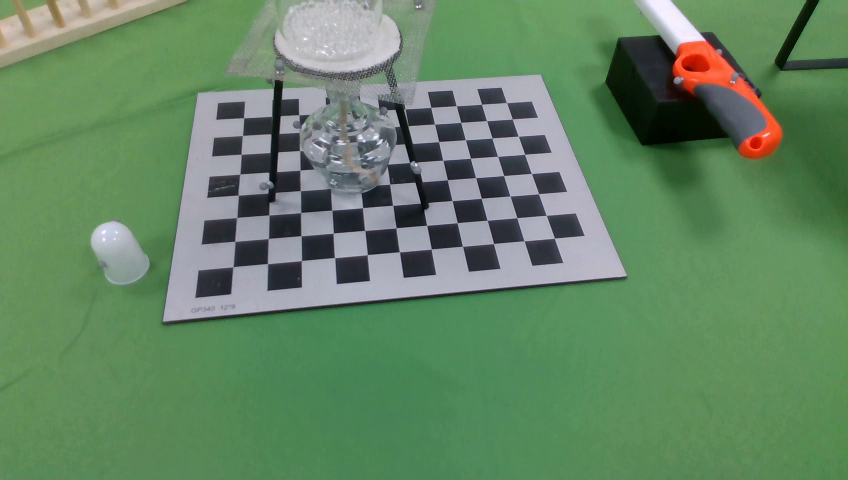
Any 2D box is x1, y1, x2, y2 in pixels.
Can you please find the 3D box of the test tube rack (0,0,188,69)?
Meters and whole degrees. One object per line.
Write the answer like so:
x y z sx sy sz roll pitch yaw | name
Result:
-0.380 -0.258 0.623 0.242 0.086 0.066 -34 60 -27 | test tube rack

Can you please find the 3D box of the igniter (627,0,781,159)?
0.245 -0.168 0.555 0.057 0.025 0.273 -7 49 -4 | igniter

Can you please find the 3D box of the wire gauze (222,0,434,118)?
-0.060 -0.138 0.419 0.125 0.011 0.120 11 53 1 | wire gauze

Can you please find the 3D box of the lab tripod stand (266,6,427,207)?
-0.059 -0.098 0.471 0.148 0.132 0.147 3 50 -3 | lab tripod stand

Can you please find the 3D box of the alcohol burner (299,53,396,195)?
-0.062 -0.093 0.479 0.078 0.120 0.077 0 51 0 | alcohol burner

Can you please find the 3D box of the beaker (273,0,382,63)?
-0.062 -0.169 0.380 0.074 0.101 0.083 2 51 -2 | beaker

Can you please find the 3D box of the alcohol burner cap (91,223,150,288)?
-0.223 0.008 0.440 0.034 0.048 0.033 2 50 -2 | alcohol burner cap
